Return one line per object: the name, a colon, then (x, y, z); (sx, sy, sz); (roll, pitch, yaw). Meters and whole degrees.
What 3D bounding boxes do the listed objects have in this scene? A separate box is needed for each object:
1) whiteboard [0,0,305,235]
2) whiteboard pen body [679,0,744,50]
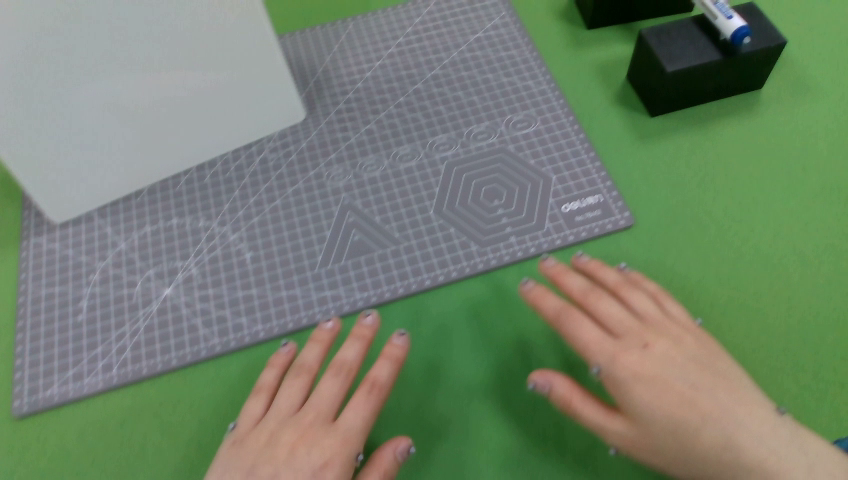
whiteboard: (-0.255, -0.198, 0.443); (0.217, 0.308, 0.142); (-25, 41, -10)
whiteboard pen body: (0.210, -0.201, 0.488); (0.017, 0.017, 0.139); (-20, 60, -7)
